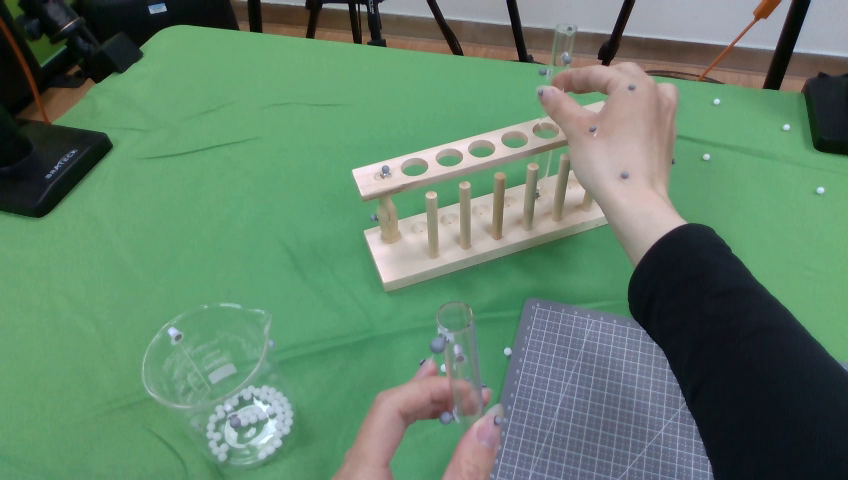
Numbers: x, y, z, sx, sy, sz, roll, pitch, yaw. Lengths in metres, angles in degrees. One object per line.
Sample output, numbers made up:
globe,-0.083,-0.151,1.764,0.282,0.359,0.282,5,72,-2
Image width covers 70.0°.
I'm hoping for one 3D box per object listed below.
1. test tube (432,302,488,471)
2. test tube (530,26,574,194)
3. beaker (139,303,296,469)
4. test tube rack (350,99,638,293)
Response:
test tube,0.020,0.079,0.293,0.017,0.152,0.017,-5,49,6
test tube,0.102,-0.101,0.501,0.017,0.151,0.017,2,41,-1
beaker,-0.127,0.099,0.401,0.073,0.101,0.084,34,58,30
test tube rack,0.066,-0.039,0.519,0.243,0.086,0.066,-17,49,-10
